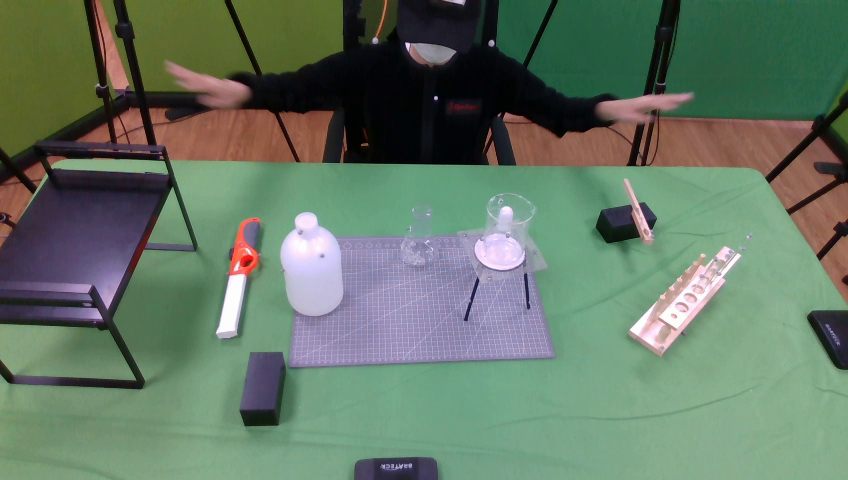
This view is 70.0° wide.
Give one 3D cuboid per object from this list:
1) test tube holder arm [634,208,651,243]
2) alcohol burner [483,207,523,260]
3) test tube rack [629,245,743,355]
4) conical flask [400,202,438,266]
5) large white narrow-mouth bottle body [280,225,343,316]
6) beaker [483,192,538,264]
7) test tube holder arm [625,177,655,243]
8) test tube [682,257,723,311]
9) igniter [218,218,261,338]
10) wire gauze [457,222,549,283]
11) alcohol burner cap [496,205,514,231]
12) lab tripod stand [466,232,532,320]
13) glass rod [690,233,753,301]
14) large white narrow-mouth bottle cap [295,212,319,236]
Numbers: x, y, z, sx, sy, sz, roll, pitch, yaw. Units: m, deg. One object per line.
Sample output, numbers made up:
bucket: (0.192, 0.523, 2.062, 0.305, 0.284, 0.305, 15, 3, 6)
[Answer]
test tube holder arm: (0.428, -0.030, 1.189, 0.010, 0.015, 0.087, 2, 47, -2)
alcohol burner: (0.152, -0.018, 1.156, 0.078, 0.120, 0.077, 0, 47, 0)
test tube rack: (0.474, 0.095, 1.091, 0.242, 0.085, 0.066, -34, 57, -31)
conical flask: (-0.007, -0.014, 1.135, 0.075, 0.122, 0.075, 2, 46, -2)
large white narrow-mouth bottle body: (-0.191, 0.035, 1.024, 0.102, 0.195, 0.101, 2, 46, -2)
beaker: (0.136, -0.017, 0.980, 0.084, 0.101, 0.073, -6, 45, -9)
test tube holder arm: (0.433, -0.063, 1.220, 0.013, 0.015, 0.177, 1, 47, -3)
test tube: (0.475, 0.080, 1.037, 0.017, 0.151, 0.017, 1, 50, -1)
igniter: (-0.336, 0.059, 1.111, 0.057, 0.025, 0.274, -7, 46, 4)
wire gauze: (0.131, 0.016, 1.017, 0.121, 0.011, 0.124, -10, 44, -15)
alcohol burner cap: (0.153, -0.044, 1.131, 0.034, 0.048, 0.033, 2, 40, -1)
lab tripod stand: (0.125, 0.059, 1.065, 0.148, 0.132, 0.147, 1, 45, 0)
glass rod: (0.507, 0.053, 1.041, 0.008, 0.200, 0.008, 5, 50, -6)
large white narrow-mouth bottle cap: (-0.185, -0.025, 0.960, 0.038, 0.024, 0.037, 2, 46, -2)
